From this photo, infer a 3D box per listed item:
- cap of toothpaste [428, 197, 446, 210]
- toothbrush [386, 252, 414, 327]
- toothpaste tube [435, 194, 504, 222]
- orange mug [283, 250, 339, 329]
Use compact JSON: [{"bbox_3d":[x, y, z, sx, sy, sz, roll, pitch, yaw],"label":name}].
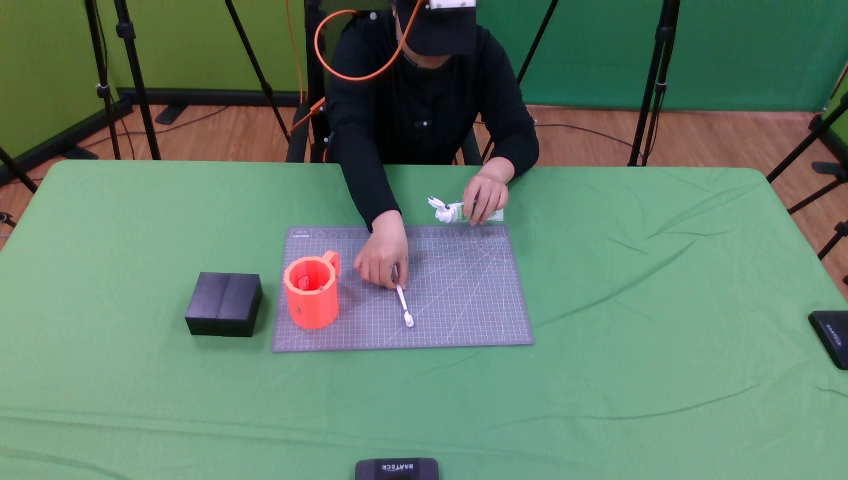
[{"bbox_3d":[0.023,-0.066,1.115,0.037,0.011,0.037,26,23,-11],"label":"cap of toothpaste"},{"bbox_3d":[-0.047,0.086,1.111,0.014,0.017,0.180,-25,47,5],"label":"toothbrush"},{"bbox_3d":[0.091,-0.058,1.175,0.165,0.055,0.034,-6,17,-34],"label":"toothpaste tube"},{"bbox_3d":[-0.186,0.079,1.052,0.083,0.101,0.126,20,52,15],"label":"orange mug"}]
